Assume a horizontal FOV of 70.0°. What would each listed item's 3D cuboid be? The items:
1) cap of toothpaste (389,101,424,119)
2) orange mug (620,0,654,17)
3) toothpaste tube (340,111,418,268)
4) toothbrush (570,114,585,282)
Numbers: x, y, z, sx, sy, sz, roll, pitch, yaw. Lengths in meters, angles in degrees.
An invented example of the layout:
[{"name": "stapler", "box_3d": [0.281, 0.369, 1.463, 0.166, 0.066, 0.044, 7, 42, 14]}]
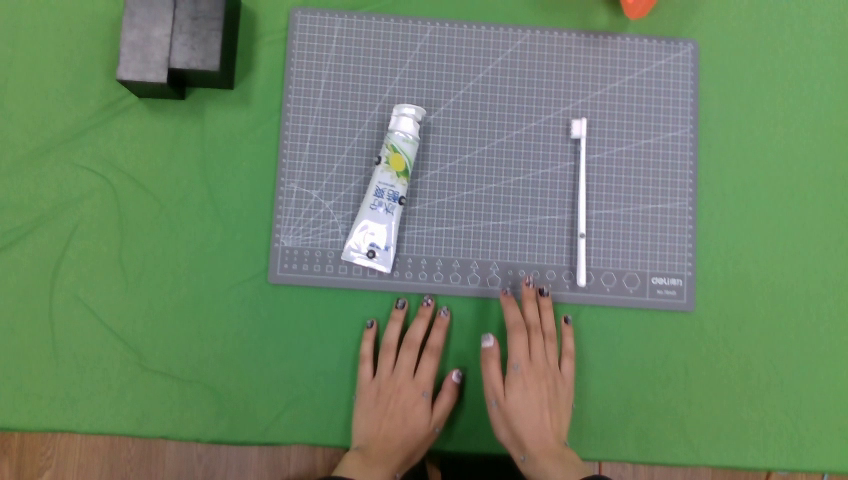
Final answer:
[{"name": "cap of toothpaste", "box_3d": [-0.018, -0.135, 0.634, 0.037, 0.037, 0.011, 5, 82, -2]}, {"name": "orange mug", "box_3d": [0.213, -0.305, 0.632, 0.083, 0.101, 0.125, -18, 81, -4]}, {"name": "toothpaste tube", "box_3d": [-0.042, -0.057, 0.632, 0.055, 0.034, 0.165, 15, 88, 6]}, {"name": "toothbrush", "box_3d": [0.164, -0.046, 0.645, 0.016, 0.014, 0.181, 1, 85, 1]}]
